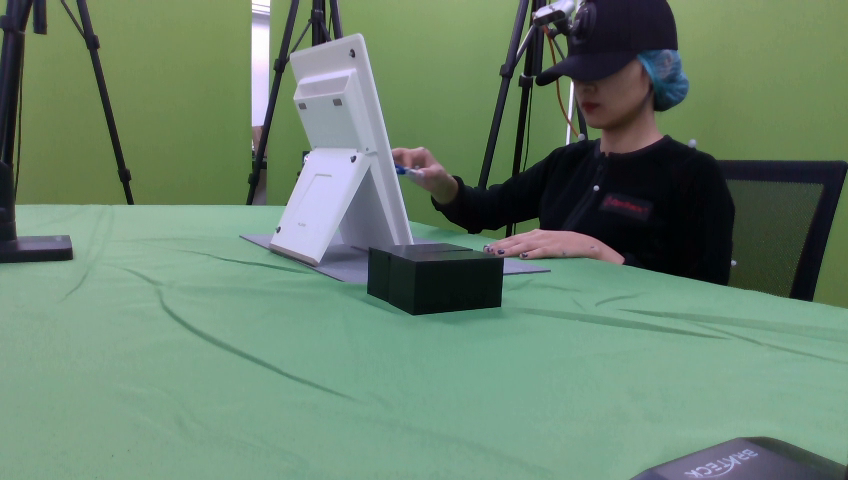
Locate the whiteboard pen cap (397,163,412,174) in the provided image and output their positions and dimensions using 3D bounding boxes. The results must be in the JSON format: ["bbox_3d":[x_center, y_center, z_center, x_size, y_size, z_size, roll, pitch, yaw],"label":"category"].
[{"bbox_3d":[-0.033,-0.121,1.029,0.018,0.018,0.033,4,1,18],"label":"whiteboard pen cap"}]

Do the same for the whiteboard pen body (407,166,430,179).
[{"bbox_3d":[-0.015,-0.122,1.086,0.017,0.017,0.141,4,2,17],"label":"whiteboard pen body"}]

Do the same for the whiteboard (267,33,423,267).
[{"bbox_3d":[-0.153,-0.098,0.819,0.144,0.305,0.216,-25,21,-29],"label":"whiteboard"}]
